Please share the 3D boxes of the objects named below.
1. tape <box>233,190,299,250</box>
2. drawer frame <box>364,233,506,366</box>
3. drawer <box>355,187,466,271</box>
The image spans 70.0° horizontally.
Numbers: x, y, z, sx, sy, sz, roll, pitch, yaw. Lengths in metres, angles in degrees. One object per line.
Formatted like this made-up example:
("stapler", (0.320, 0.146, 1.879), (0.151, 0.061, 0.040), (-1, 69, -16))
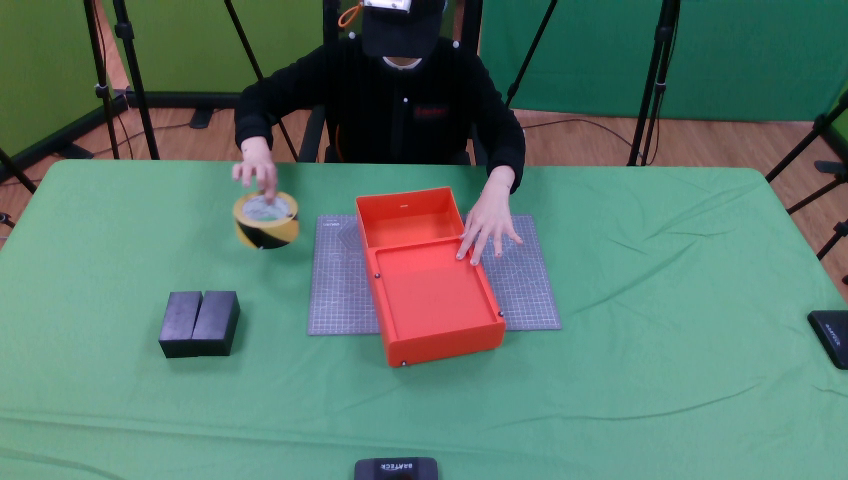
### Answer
("tape", (-0.285, -0.037, 1.094), (0.117, 0.053, 0.116), (4, 41, -3))
("drawer frame", (0.013, 0.097, 1.058), (0.202, 0.083, 0.212), (-8, 48, -13))
("drawer", (-0.020, -0.001, 1.153), (0.195, 0.073, 0.210), (-7, 47, -11))
